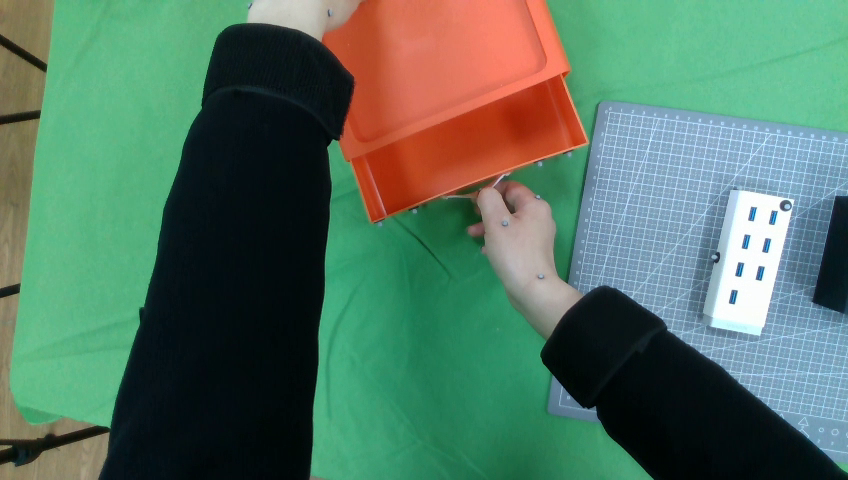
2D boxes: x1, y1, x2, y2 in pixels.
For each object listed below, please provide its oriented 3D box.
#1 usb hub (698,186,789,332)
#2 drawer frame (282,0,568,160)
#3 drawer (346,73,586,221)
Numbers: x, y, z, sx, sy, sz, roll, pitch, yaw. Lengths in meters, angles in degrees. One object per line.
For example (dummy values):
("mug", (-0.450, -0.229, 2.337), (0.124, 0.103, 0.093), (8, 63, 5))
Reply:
("usb hub", (0.287, 0.017, 0.547), (0.049, 0.025, 0.125), (10, 97, 3))
("drawer frame", (-0.011, -0.200, 0.520), (0.201, 0.082, 0.213), (-21, 93, 6))
("drawer", (0.011, -0.145, 0.525), (0.194, 0.073, 0.212), (-19, 94, 7))
